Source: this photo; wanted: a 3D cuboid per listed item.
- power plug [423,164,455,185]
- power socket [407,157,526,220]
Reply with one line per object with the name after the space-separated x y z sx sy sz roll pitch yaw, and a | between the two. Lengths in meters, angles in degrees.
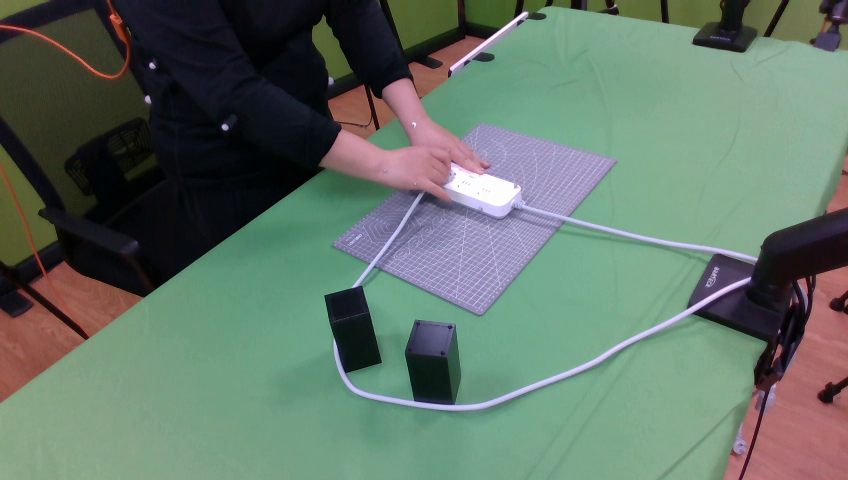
0.021 -0.104 1.048 0.073 0.053 0.035 -32 49 -22 | power plug
0.068 -0.094 1.058 0.225 0.033 0.072 23 49 31 | power socket
